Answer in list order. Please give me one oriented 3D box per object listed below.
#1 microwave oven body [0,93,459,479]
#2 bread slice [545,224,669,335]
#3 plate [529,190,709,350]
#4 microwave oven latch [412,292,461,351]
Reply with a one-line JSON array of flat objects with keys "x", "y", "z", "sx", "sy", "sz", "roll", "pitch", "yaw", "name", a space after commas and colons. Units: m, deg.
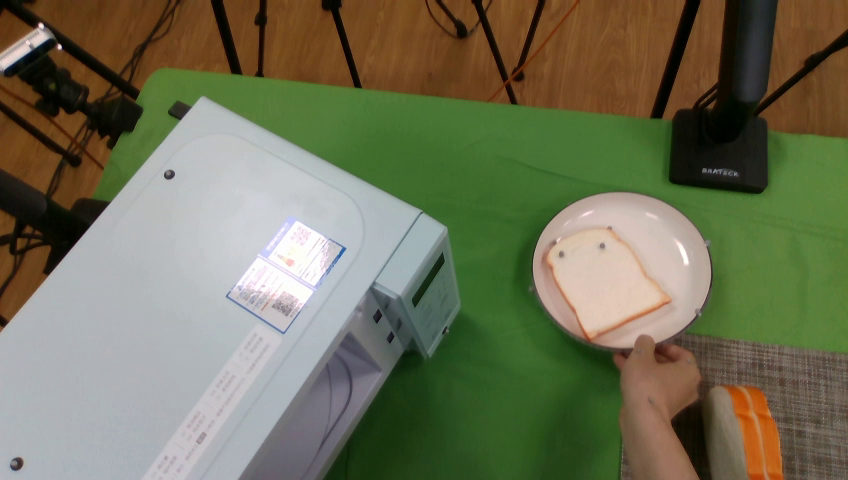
[{"x": -0.215, "y": 0.130, "z": 0.636, "sx": 0.324, "sy": 0.262, "sz": 0.440, "roll": 28, "pitch": 74, "yaw": 17, "name": "microwave oven body"}, {"x": 0.211, "y": 0.043, "z": 0.740, "sx": 0.107, "sy": 0.018, "sz": 0.133, "roll": -27, "pitch": 58, "yaw": -5, "name": "bread slice"}, {"x": 0.234, "y": 0.037, "z": 0.740, "sx": 0.207, "sy": 0.039, "sz": 0.206, "roll": -5, "pitch": 63, "yaw": 11, "name": "plate"}, {"x": 0.015, "y": 0.093, "z": 0.731, "sx": 0.030, "sy": 0.030, "sz": 0.079, "roll": 31, "pitch": 74, "yaw": 17, "name": "microwave oven latch"}]
